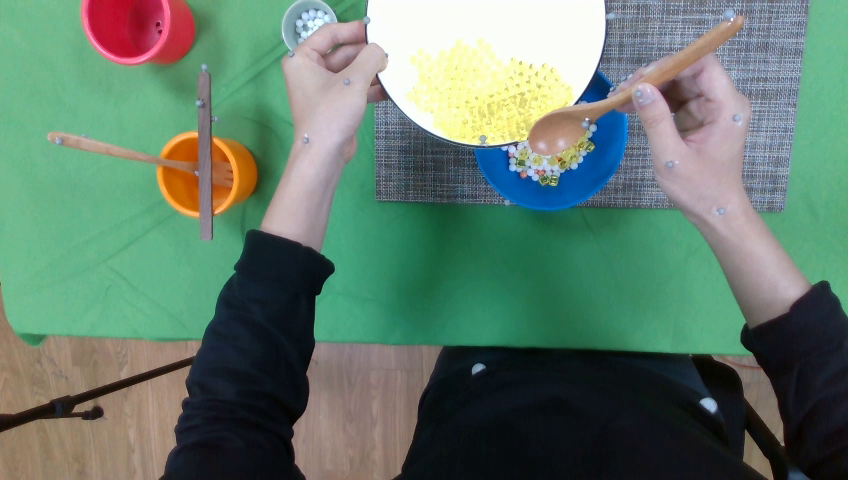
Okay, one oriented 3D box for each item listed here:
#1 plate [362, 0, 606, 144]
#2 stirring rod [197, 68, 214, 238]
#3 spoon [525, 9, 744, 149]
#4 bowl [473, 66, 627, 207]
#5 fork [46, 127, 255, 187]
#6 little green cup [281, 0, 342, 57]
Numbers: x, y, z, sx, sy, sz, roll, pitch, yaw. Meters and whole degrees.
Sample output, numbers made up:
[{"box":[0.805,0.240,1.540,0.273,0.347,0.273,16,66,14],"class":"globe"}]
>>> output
[{"box":[0.051,-0.190,0.534,0.209,0.038,0.209,0,101,0],"class":"plate"},{"box":[-0.229,-0.089,0.636,0.014,0.006,0.176,4,101,4],"class":"stirring rod"},{"box":[0.148,-0.113,0.455,0.042,0.193,0.021,29,63,-23],"class":"spoon"},{"box":[0.125,-0.113,0.629,0.151,0.076,0.152,1,103,5],"class":"bowl"},{"box":[-0.281,-0.088,0.644,0.209,0.018,0.028,10,109,-40],"class":"fork"},{"box":[-0.119,-0.228,0.656,0.061,0.038,0.062,1,101,7],"class":"little green cup"}]
